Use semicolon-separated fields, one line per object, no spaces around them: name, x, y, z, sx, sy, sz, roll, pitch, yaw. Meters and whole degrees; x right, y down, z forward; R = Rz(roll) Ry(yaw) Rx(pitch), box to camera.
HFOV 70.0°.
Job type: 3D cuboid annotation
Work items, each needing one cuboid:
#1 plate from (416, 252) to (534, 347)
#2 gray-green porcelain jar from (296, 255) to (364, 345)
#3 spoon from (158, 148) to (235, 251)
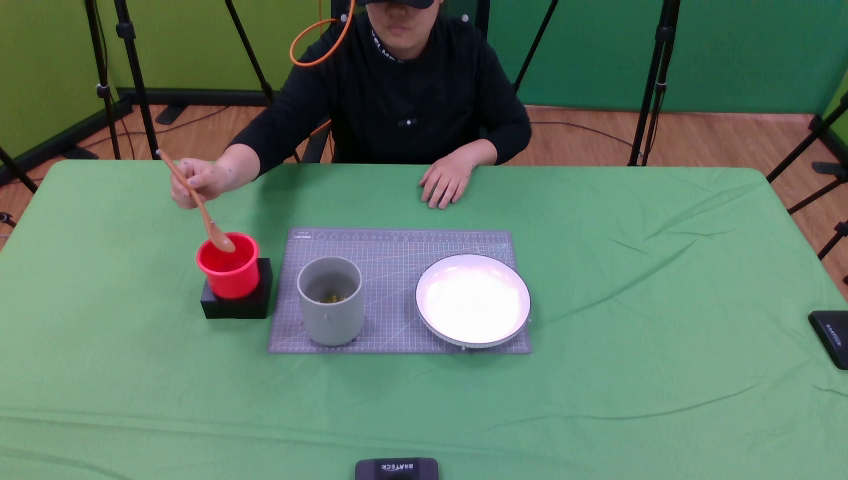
plate;0.090;0.109;1.084;0.208;0.039;0.206;2;46;-2
gray-green porcelain jar;-0.153;0.105;1.008;0.106;0.127;0.105;2;46;-2
spoon;-0.360;-0.063;0.962;0.021;0.194;0.041;-21;21;14
